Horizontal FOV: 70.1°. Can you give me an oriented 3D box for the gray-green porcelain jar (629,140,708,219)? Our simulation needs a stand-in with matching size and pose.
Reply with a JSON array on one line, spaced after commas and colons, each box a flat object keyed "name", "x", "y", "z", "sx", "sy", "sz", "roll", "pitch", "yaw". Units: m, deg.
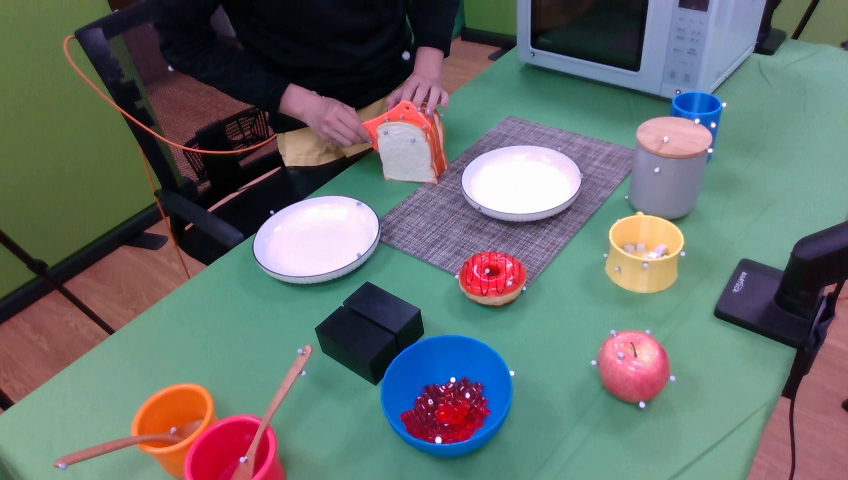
[{"name": "gray-green porcelain jar", "x": 0.383, "y": -0.105, "z": 0.958, "sx": 0.106, "sy": 0.127, "sz": 0.105, "roll": -4, "pitch": 41, "yaw": 4}]

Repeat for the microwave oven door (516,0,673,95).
[{"name": "microwave oven door", "x": 0.344, "y": -0.458, "z": 1.256, "sx": 0.353, "sy": 0.245, "sz": 0.039, "roll": 26, "pitch": 51, "yaw": 33}]

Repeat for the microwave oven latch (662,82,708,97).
[{"name": "microwave oven latch", "x": 0.518, "y": -0.298, "z": 1.202, "sx": 0.078, "sy": 0.029, "sz": 0.030, "roll": 28, "pitch": 53, "yaw": 35}]

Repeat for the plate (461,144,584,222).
[{"name": "plate", "x": 0.168, "y": -0.095, "z": 1.040, "sx": 0.207, "sy": 0.039, "sz": 0.206, "roll": -4, "pitch": 40, "yaw": 4}]

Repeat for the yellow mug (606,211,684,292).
[{"name": "yellow mug", "x": 0.318, "y": 0.008, "z": 0.883, "sx": 0.100, "sy": 0.064, "sz": 0.130, "roll": 0, "pitch": 40, "yaw": 9}]

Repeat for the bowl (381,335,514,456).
[{"name": "bowl", "x": 0.029, "y": 0.192, "z": 0.701, "sx": 0.151, "sy": 0.077, "sz": 0.150, "roll": -4, "pitch": 40, "yaw": 4}]

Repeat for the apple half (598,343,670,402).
[{"name": "apple half", "x": 0.247, "y": 0.161, "z": 0.710, "sx": 0.081, "sy": 0.075, "sz": 0.053, "roll": 2, "pitch": 47, "yaw": 5}]

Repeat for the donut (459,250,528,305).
[{"name": "donut", "x": 0.100, "y": 0.053, "z": 0.872, "sx": 0.099, "sy": 0.048, "sz": 0.098, "roll": -5, "pitch": 40, "yaw": 4}]

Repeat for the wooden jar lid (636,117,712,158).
[{"name": "wooden jar lid", "x": 0.377, "y": -0.151, "z": 0.917, "sx": 0.108, "sy": 0.021, "sz": 0.108, "roll": -2, "pitch": 41, "yaw": 3}]

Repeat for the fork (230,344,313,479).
[{"name": "fork", "x": -0.173, "y": 0.205, "z": 0.662, "sx": 0.028, "sy": 0.019, "sz": 0.207, "roll": 29, "pitch": 94, "yaw": 36}]

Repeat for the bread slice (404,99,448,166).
[{"name": "bread slice", "x": -0.009, "y": -0.198, "z": 1.118, "sx": 0.104, "sy": 0.132, "sz": 0.019, "roll": 7, "pitch": 40, "yaw": 17}]

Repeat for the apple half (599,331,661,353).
[{"name": "apple half", "x": 0.249, "y": 0.134, "z": 0.738, "sx": 0.081, "sy": 0.081, "sz": 0.032, "roll": -1, "pitch": 46, "yaw": 7}]

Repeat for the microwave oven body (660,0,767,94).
[{"name": "microwave oven body", "x": 0.474, "y": -0.516, "z": 1.313, "sx": 0.438, "sy": 0.261, "sz": 0.327, "roll": 26, "pitch": 51, "yaw": 34}]

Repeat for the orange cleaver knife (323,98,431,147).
[{"name": "orange cleaver knife", "x": -0.086, "y": -0.198, "z": 1.083, "sx": 0.210, "sy": 0.078, "sz": 0.012, "roll": -11, "pitch": 40, "yaw": 31}]

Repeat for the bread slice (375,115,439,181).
[{"name": "bread slice", "x": -0.035, "y": -0.162, "z": 1.081, "sx": 0.106, "sy": 0.135, "sz": 0.018, "roll": 1, "pitch": 44, "yaw": 19}]

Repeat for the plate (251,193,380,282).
[{"name": "plate", "x": -0.173, "y": -0.001, "z": 0.984, "sx": 0.209, "sy": 0.038, "sz": 0.208, "roll": -4, "pitch": 40, "yaw": 3}]

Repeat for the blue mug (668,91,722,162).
[{"name": "blue mug", "x": 0.475, "y": -0.207, "z": 1.079, "sx": 0.082, "sy": 0.106, "sz": 0.116, "roll": 4, "pitch": 42, "yaw": 13}]

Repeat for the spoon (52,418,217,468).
[{"name": "spoon", "x": -0.308, "y": 0.220, "z": 0.663, "sx": 0.041, "sy": 0.195, "sz": 0.021, "roll": 21, "pitch": 93, "yaw": 29}]
